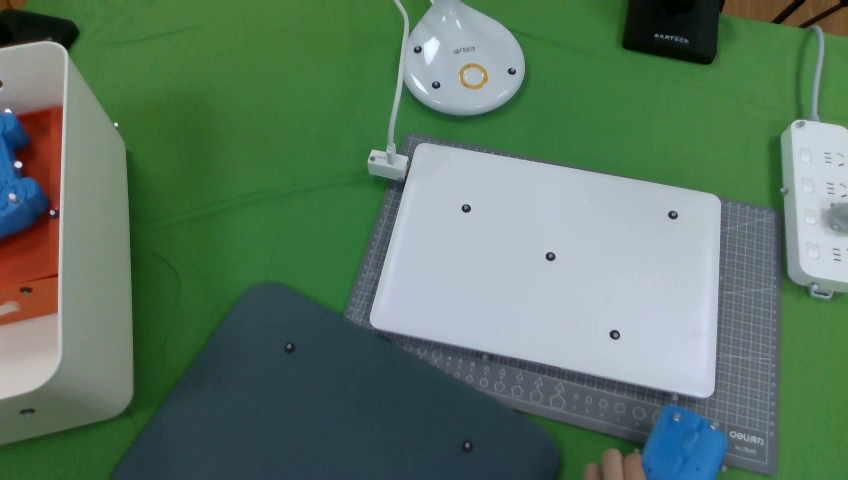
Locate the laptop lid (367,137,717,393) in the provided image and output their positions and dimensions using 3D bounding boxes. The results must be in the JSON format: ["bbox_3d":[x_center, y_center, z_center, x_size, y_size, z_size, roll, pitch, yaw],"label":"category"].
[{"bbox_3d":[0.134,0.015,0.653,0.356,0.013,0.240,12,68,6],"label":"laptop lid"}]

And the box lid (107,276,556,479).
[{"bbox_3d":[-0.087,0.212,0.578,0.370,0.015,0.262,27,68,11],"label":"box lid"}]

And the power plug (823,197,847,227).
[{"bbox_3d":[0.469,-0.024,0.653,0.072,0.053,0.035,21,66,7],"label":"power plug"}]

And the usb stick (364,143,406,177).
[{"bbox_3d":[-0.039,-0.091,0.700,0.059,0.027,0.021,16,60,4],"label":"usb stick"}]

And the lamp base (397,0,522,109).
[{"bbox_3d":[0.040,-0.278,0.714,0.161,0.181,0.177,-23,64,-11],"label":"lamp base"}]

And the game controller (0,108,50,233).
[{"bbox_3d":[-0.444,-0.071,0.605,0.097,0.052,0.154,-25,67,-15],"label":"game controller"}]

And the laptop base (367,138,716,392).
[{"bbox_3d":[0.135,0.018,0.664,0.354,0.023,0.234,11,69,5],"label":"laptop base"}]

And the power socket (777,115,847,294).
[{"bbox_3d":[0.447,-0.048,0.690,0.072,0.033,0.225,11,65,4],"label":"power socket"}]

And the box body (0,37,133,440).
[{"bbox_3d":[-0.440,0.009,0.586,0.254,0.161,0.361,-12,66,-6],"label":"box body"}]

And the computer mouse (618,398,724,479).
[{"bbox_3d":[0.221,0.201,0.546,0.062,0.041,0.117,30,69,23],"label":"computer mouse"}]
